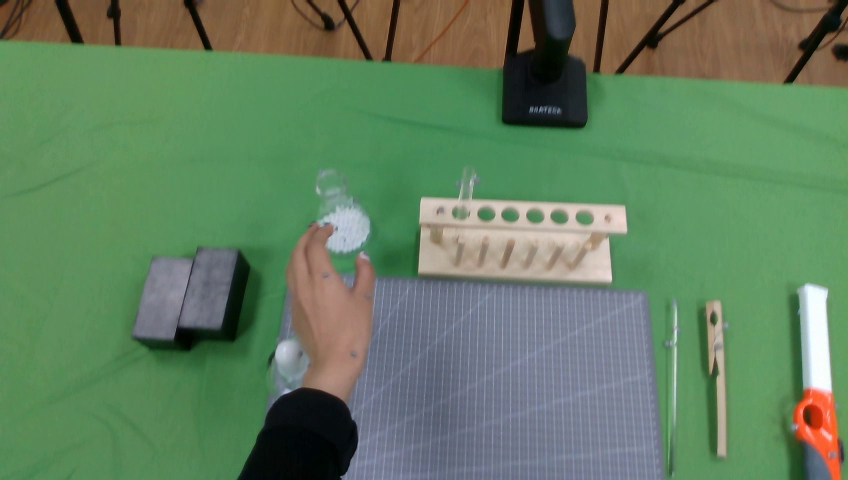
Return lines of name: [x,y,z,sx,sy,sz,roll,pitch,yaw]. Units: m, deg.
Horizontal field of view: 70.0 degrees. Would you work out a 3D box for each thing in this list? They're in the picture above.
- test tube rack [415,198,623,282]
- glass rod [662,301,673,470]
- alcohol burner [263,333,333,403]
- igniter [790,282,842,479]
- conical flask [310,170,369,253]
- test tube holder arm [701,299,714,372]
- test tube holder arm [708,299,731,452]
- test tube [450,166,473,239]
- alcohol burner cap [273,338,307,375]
test tube rack: [0.111,0.002,0.743,0.242,0.086,0.066,2,65,1]
glass rod: [0.286,0.166,0.711,0.008,0.008,0.198,10,68,4]
alcohol burner: [-0.141,0.135,0.663,0.078,0.120,0.077,-1,64,2]
igniter: [0.447,0.179,0.696,0.057,0.025,0.274,15,66,-4]
conical flask: [-0.109,-0.039,0.740,0.075,0.123,0.074,0,65,0]
test tube holder arm: [0.344,0.115,0.731,0.010,0.015,0.087,-12,60,36]
test tube holder arm: [0.345,0.155,0.710,0.013,0.015,0.177,-14,59,35]
test tube: [0.042,-0.039,0.707,0.017,0.151,0.017,1,63,-1]
alcohol burner cap: [-0.141,0.118,0.630,0.034,0.048,0.033,2,62,-3]
